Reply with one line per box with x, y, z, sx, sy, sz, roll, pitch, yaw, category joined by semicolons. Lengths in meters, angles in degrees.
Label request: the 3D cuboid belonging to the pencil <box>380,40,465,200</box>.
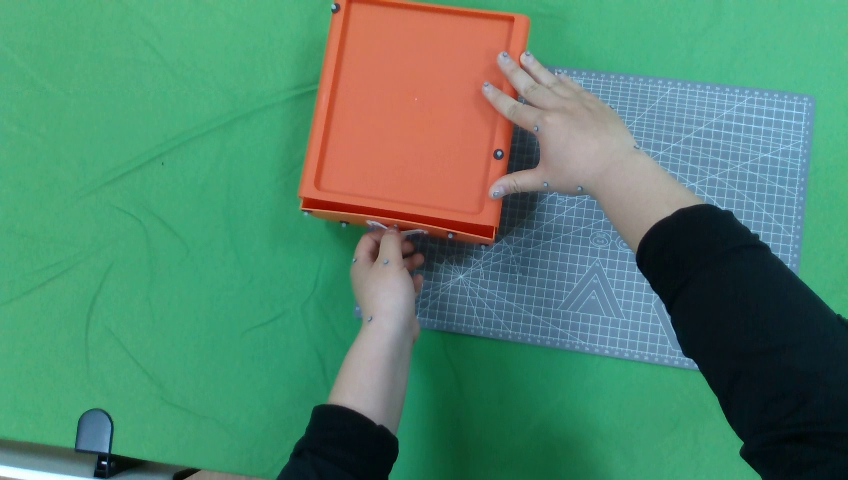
0.000;-0.129;0.648;0.012;0.012;0.193;-27;86;2;pencil

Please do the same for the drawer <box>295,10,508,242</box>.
-0.013;-0.114;0.623;0.194;0.073;0.211;9;85;6;drawer

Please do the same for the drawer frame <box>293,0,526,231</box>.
-0.012;-0.127;0.623;0.201;0.083;0.213;8;85;6;drawer frame
